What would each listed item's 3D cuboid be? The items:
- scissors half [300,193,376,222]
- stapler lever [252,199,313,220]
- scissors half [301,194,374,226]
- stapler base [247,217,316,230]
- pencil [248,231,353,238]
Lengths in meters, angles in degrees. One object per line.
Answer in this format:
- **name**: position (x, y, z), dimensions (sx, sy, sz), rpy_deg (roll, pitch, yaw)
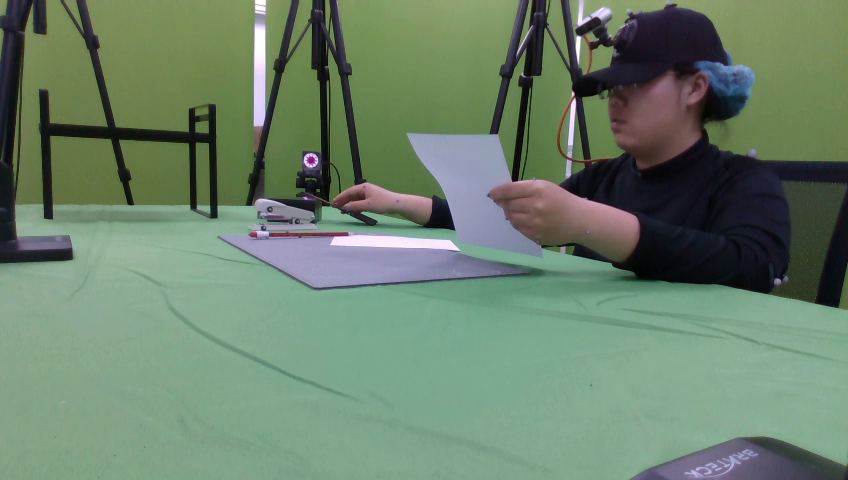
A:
- **scissors half**: position (-0.189, -0.073, 1.333), dimensions (0.176, 0.013, 0.040), rpy_deg (19, 11, -11)
- **stapler lever**: position (-0.273, -0.058, 1.170), dimensions (0.119, 0.040, 0.026), rpy_deg (0, 10, -37)
- **scissors half**: position (-0.191, -0.068, 1.313), dimensions (0.175, 0.013, 0.040), rpy_deg (23, 17, 6)
- **stapler base**: position (-0.276, -0.033, 1.172), dimensions (0.131, 0.024, 0.041), rpy_deg (0, 10, -37)
- **pencil**: position (-0.206, -0.009, 1.040), dimensions (0.195, 0.012, 0.012), rpy_deg (0, 8, -36)
